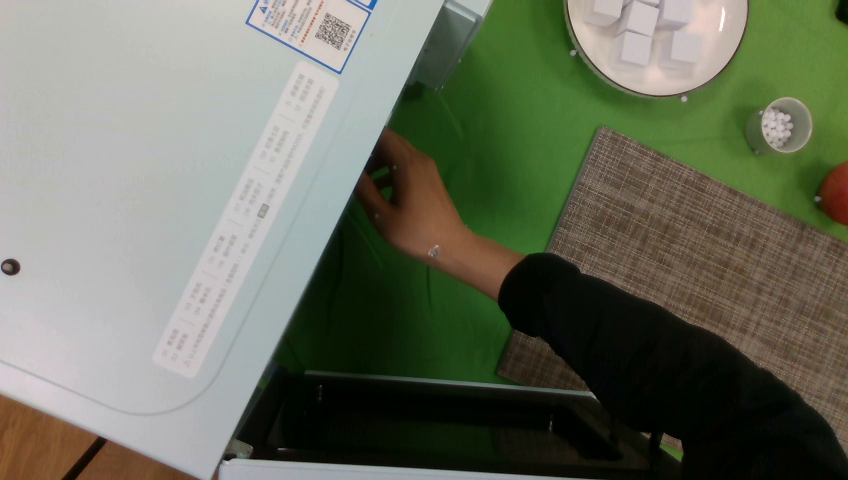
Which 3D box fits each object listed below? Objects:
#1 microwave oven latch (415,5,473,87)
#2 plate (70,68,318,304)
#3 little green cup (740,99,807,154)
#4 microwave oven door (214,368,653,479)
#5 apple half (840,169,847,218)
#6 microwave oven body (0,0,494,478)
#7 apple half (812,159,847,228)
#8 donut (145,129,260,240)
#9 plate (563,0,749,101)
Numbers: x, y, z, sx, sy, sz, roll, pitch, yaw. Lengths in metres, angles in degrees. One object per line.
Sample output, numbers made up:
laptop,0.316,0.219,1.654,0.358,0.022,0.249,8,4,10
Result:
microwave oven latch,0.020,-0.199,0.618,0.030,0.029,0.079,29,89,-8
plate,-0.201,-0.047,0.548,0.209,0.038,0.209,-1,96,-7
little green cup,0.393,-0.126,0.687,0.061,0.038,0.061,0,92,-7
microwave oven door,0.023,0.172,0.534,0.357,0.243,0.039,6,90,-7
apple half,0.512,-0.055,0.687,0.033,0.081,0.081,-3,92,-2
microwave oven body,-0.179,-0.103,0.500,0.327,0.259,0.441,27,90,-8
apple half,0.473,-0.052,0.683,0.053,0.074,0.081,-2,96,-2
donut,-0.195,-0.048,0.539,0.099,0.048,0.099,0,90,-7
plate,0.249,-0.255,0.663,0.208,0.039,0.207,0,92,-7
